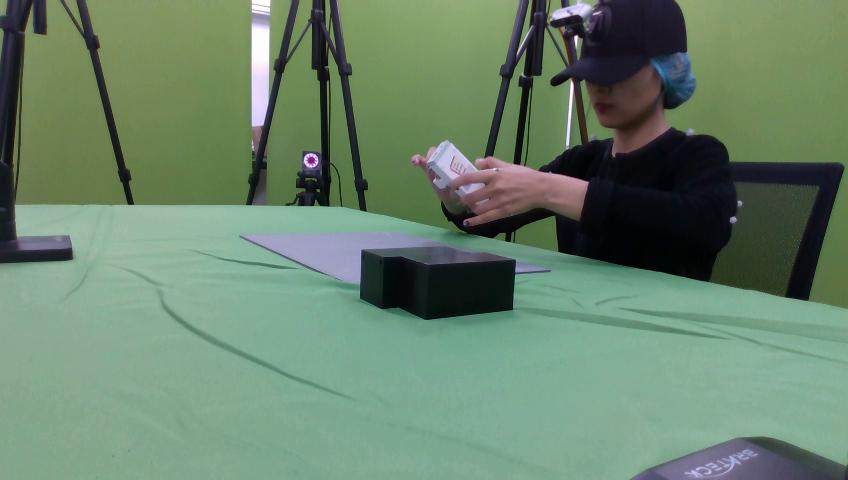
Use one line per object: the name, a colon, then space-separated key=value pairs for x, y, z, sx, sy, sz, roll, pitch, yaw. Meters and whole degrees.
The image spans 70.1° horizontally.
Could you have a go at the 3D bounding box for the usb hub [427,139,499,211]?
usb hub: x=0.065 y=-0.105 z=0.982 sx=0.125 sy=0.049 sz=0.025 roll=42 pitch=-20 yaw=-21

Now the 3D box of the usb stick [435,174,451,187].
usb stick: x=0.045 y=-0.105 z=1.003 sx=0.021 sy=0.027 sz=0.059 roll=44 pitch=-18 yaw=-21
